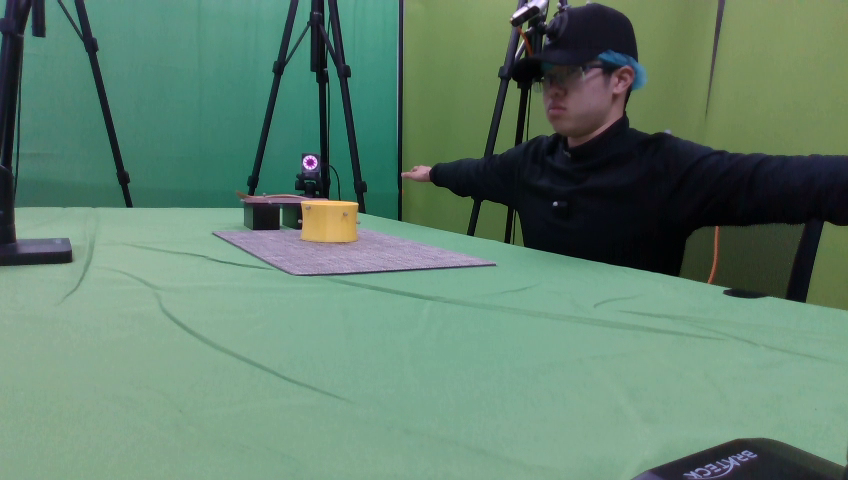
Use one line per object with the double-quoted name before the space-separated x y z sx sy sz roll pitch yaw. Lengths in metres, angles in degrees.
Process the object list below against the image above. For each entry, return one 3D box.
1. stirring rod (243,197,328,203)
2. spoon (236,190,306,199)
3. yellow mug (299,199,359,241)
"stirring rod" -0.271 -0.079 1.201 0.177 0.006 0.014 -2 46 -36
"spoon" -0.290 -0.088 1.248 0.195 0.021 0.041 0 5 -32
"yellow mug" -0.157 -0.036 1.060 0.099 0.064 0.131 6 7 27
